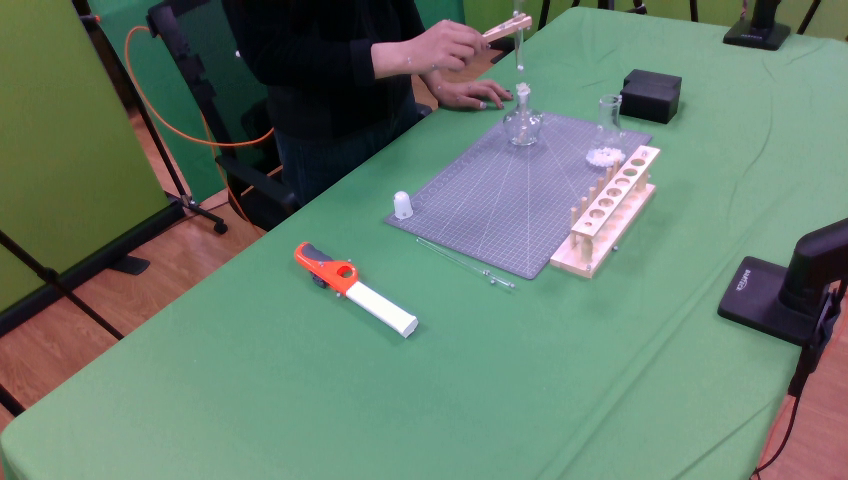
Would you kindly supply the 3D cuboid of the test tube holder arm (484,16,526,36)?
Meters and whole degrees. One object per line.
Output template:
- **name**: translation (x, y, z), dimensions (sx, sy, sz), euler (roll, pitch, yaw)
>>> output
- **test tube holder arm**: translation (0.140, -0.361, 1.036), dimensions (0.088, 0.015, 0.010), euler (-32, 44, -21)

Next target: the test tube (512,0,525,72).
- **test tube**: translation (0.164, -0.361, 1.050), dimensions (0.017, 0.151, 0.017), euler (-7, 45, 7)

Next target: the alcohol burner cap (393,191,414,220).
- **alcohol burner cap**: translation (-0.037, -0.062, 1.045), dimensions (0.034, 0.048, 0.033), euler (-5, 40, 5)

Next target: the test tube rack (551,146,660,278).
- **test tube rack**: translation (0.286, -0.053, 0.944), dimensions (0.066, 0.085, 0.243), euler (21, 49, 32)

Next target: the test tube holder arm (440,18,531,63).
- **test tube holder arm**: translation (0.105, -0.338, 1.019), dimensions (0.179, 0.015, 0.013), euler (-28, 42, -16)

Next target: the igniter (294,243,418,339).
- **igniter**: translation (-0.114, 0.070, 0.919), dimensions (0.274, 0.025, 0.057), euler (29, 63, 37)

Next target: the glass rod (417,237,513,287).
- **glass rod**: translation (0.059, 0.033, 0.945), dimensions (0.198, 0.008, 0.008), euler (26, 52, 38)

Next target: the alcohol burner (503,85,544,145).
- **alcohol burner**: translation (0.191, -0.243, 1.160), dimensions (0.078, 0.119, 0.077), euler (-4, 40, 4)

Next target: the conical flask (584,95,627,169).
- **conical flask**: translation (0.324, -0.192, 1.066), dimensions (0.075, 0.122, 0.075), euler (-6, 40, 5)
